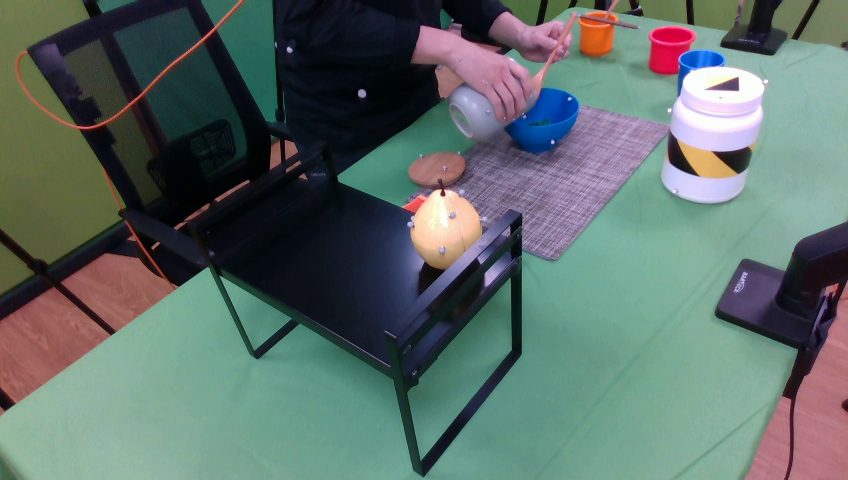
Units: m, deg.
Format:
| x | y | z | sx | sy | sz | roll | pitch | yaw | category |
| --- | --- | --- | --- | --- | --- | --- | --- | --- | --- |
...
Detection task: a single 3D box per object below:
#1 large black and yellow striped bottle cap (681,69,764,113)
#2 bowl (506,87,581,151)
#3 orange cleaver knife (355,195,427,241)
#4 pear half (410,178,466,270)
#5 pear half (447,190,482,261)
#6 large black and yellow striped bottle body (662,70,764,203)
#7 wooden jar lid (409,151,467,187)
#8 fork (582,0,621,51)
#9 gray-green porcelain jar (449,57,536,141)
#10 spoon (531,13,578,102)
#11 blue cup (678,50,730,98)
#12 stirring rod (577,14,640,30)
| x | y | z | sx | sy | sz | roll | pitch | yaw | category |
| --- | --- | --- | --- | --- | --- | --- | --- | --- | --- |
| 0.453 | -0.229 | 0.921 | 0.115 | 0.019 | 0.114 | -4 | 39 | 4 | large black and yellow striped bottle cap |
| 0.221 | -0.223 | 1.156 | 0.151 | 0.077 | 0.150 | -4 | 41 | 4 | bowl |
| -0.037 | -0.029 | 0.973 | 0.210 | 0.077 | 0.012 | -8 | 33 | 50 | orange cleaver knife |
| 0.011 | -0.019 | 0.654 | 0.056 | 0.110 | 0.076 | -16 | 37 | -9 | pear half |
| 0.046 | -0.020 | 0.664 | 0.031 | 0.088 | 0.070 | -17 | 38 | -9 | pear half |
| 0.464 | -0.166 | 0.976 | 0.131 | 0.185 | 0.130 | -5 | 41 | 5 | large black and yellow striped bottle body |
| 0.026 | -0.131 | 1.124 | 0.108 | 0.021 | 0.108 | -8 | 35 | 6 | wooden jar lid |
| 0.446 | -0.539 | 1.438 | 0.207 | 0.019 | 0.028 | -57 | 36 | 12 | fork |
| 0.116 | -0.245 | 1.068 | 0.127 | 0.106 | 0.105 | -35 | 46 | -9 | gray-green porcelain jar |
| 0.232 | -0.332 | 1.117 | 0.041 | 0.022 | 0.193 | 30 | 89 | 39 | spoon |
| 0.542 | -0.310 | 1.194 | 0.092 | 0.101 | 0.092 | -6 | 41 | 6 | blue cup |
| 0.419 | -0.508 | 1.404 | 0.174 | 0.006 | 0.014 | 28 | 55 | 35 | stirring rod |
